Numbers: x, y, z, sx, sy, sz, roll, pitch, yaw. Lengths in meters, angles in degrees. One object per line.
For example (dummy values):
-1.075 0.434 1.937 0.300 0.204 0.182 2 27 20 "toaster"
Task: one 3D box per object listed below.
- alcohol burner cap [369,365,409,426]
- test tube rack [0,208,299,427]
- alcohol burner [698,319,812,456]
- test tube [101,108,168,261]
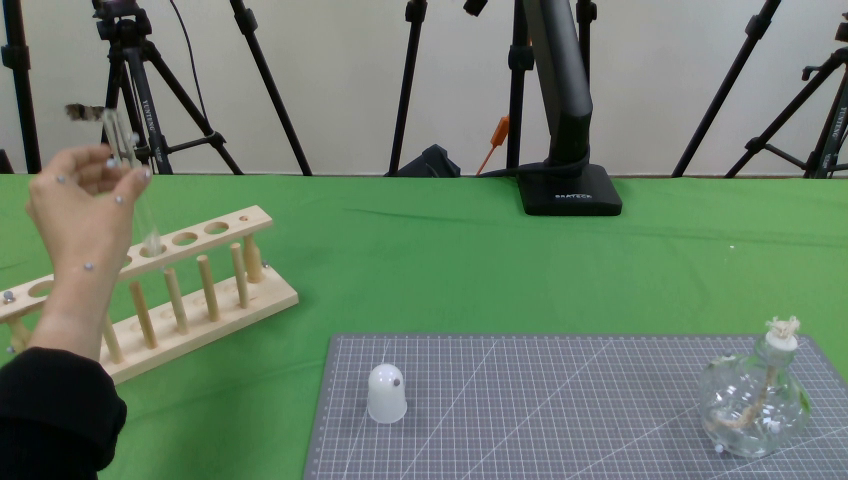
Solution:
-0.029 0.121 0.483 0.034 0.048 0.033 0 34 0 "alcohol burner cap"
-0.240 0.059 0.541 0.243 0.086 0.066 -24 40 -31 "test tube rack"
0.248 0.102 0.446 0.078 0.120 0.077 0 36 0 "alcohol burner"
-0.234 -0.038 0.498 0.017 0.151 0.017 2 40 -1 "test tube"
